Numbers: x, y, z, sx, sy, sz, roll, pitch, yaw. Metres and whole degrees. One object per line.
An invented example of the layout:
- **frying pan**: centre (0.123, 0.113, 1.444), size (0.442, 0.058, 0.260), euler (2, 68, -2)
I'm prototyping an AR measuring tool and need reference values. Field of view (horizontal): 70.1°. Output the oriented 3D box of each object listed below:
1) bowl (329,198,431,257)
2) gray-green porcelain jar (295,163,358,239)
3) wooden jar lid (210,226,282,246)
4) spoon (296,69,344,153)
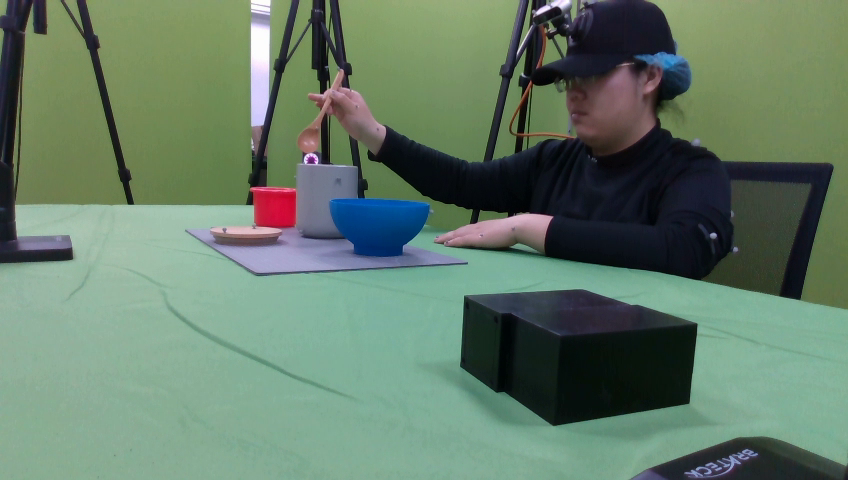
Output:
- **bowl**: centre (-0.067, -0.019, 0.895), size (0.151, 0.077, 0.151), euler (3, 7, 0)
- **gray-green porcelain jar**: centre (-0.170, -0.069, 1.054), size (0.106, 0.126, 0.106), euler (3, 7, 0)
- **wooden jar lid**: centre (-0.279, -0.007, 0.951), size (0.108, 0.020, 0.108), euler (2, 8, 0)
- **spoon**: centre (-0.195, -0.253, 1.179), size (0.042, 0.193, 0.021), euler (28, -14, -17)
